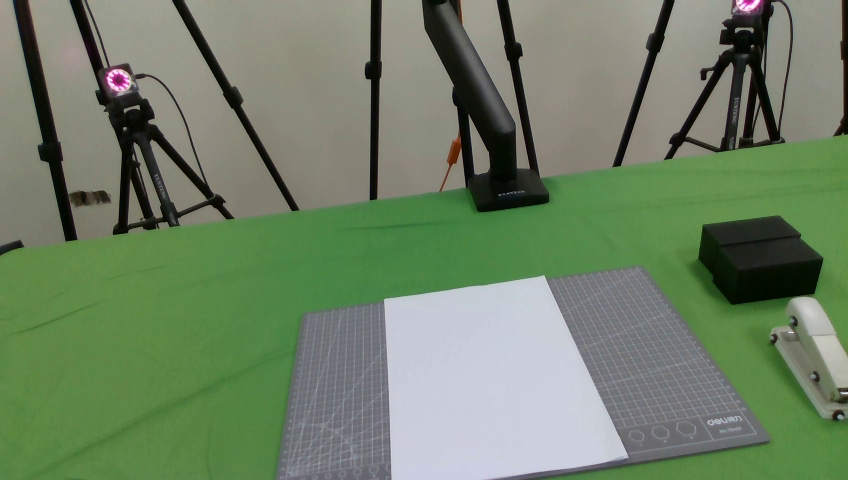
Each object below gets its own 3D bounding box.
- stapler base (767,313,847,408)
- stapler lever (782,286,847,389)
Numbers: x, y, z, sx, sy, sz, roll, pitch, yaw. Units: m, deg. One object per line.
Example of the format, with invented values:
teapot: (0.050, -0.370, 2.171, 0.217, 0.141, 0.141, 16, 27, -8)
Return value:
stapler base: (0.389, 0.111, 0.605, 0.041, 0.024, 0.129, -6, 33, 7)
stapler lever: (0.386, 0.091, 0.590, 0.027, 0.040, 0.117, -6, 33, 7)
